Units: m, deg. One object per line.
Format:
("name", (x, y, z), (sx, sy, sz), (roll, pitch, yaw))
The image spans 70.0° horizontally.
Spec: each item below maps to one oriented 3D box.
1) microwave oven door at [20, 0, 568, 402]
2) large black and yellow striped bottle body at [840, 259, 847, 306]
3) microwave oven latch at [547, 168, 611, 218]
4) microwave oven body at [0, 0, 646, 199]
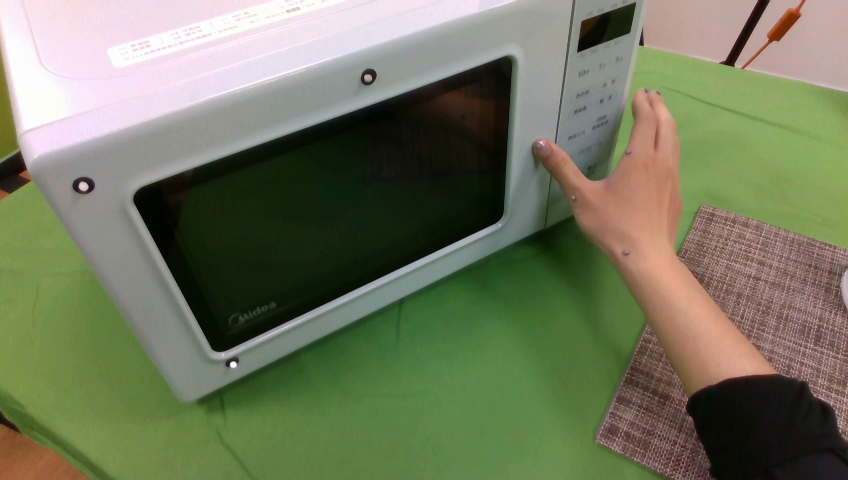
("microwave oven door", (-0.050, -0.034, 0.453), (0.356, 0.246, 0.039), (-25, 49, -19))
("large black and yellow striped bottle body", (0.419, -0.006, 0.451), (0.131, 0.186, 0.129), (-2, 46, 2))
("microwave oven latch", (0.146, -0.051, 0.598), (0.079, 0.030, 0.030), (-23, 49, -17))
("microwave oven body", (-0.088, -0.134, 0.560), (0.442, 0.263, 0.322), (-26, 50, -19))
